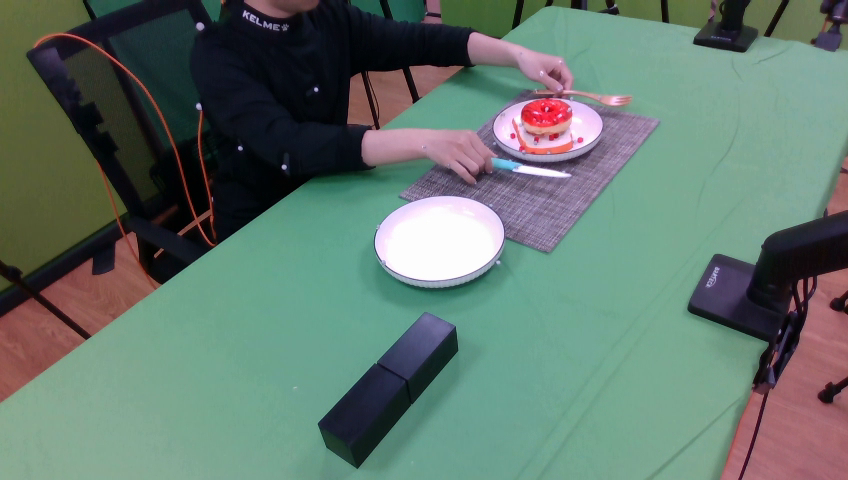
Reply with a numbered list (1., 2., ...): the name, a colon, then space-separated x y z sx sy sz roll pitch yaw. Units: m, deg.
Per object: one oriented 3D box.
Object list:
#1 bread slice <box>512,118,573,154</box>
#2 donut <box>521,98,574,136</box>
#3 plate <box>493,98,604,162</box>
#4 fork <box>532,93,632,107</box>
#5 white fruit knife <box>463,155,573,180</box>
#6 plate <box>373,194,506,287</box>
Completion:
1. bread slice: 0.232 -0.204 1.160 0.105 0.019 0.131 -7 40 1
2. donut: 0.232 -0.232 1.135 0.099 0.048 0.098 -4 41 4
3. plate: 0.237 -0.206 1.158 0.209 0.038 0.208 -4 40 4
4. fork: 0.318 -0.288 1.234 0.206 0.018 0.028 16 23 26
5. white fruit knife: 0.165 -0.127 1.070 0.206 0.016 0.027 15 44 30
6. plate: 0.025 0.003 0.951 0.207 0.039 0.206 -4 41 4
